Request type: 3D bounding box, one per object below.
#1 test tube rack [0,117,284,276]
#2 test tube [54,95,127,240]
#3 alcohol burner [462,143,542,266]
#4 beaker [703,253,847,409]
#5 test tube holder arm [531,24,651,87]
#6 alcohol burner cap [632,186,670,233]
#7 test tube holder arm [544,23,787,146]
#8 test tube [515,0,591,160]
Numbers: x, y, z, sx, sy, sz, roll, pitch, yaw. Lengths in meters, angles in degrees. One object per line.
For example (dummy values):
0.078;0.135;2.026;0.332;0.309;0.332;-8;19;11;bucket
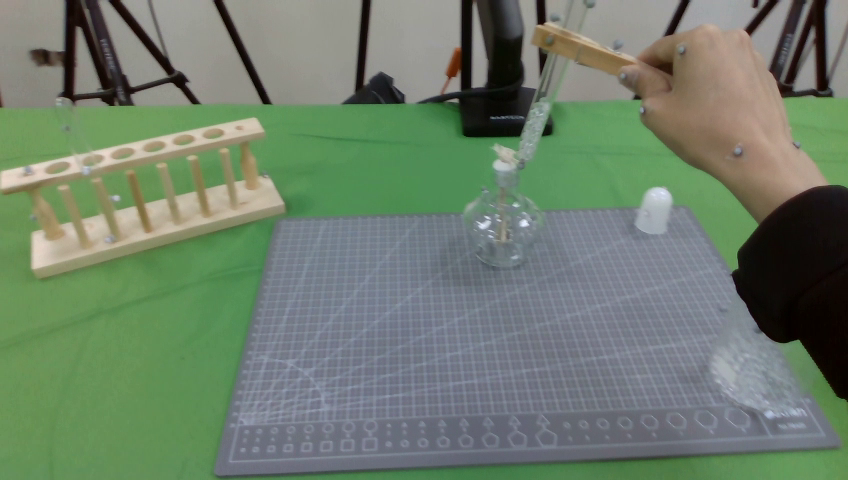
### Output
-0.275;-0.049;0.615;0.243;0.086;0.066;-17;42;-20;test tube rack
-0.307;-0.063;0.560;0.017;0.152;0.017;-1;38;1;test tube
0.074;-0.036;0.572;0.078;0.120;0.077;-1;38;1;alcohol burner
0.255;0.070;0.453;0.074;0.101;0.083;-21;43;-24;beaker
0.115;-0.128;0.419;0.087;0.015;0.010;29;39;20;test tube holder arm
0.236;-0.034;0.628;0.034;0.048;0.033;0;39;0;alcohol burner cap
0.153;-0.108;0.405;0.177;0.015;0.013;35;42;26;test tube holder arm
0.095;-0.125;0.445;0.017;0.151;0.017;10;37;-7;test tube
